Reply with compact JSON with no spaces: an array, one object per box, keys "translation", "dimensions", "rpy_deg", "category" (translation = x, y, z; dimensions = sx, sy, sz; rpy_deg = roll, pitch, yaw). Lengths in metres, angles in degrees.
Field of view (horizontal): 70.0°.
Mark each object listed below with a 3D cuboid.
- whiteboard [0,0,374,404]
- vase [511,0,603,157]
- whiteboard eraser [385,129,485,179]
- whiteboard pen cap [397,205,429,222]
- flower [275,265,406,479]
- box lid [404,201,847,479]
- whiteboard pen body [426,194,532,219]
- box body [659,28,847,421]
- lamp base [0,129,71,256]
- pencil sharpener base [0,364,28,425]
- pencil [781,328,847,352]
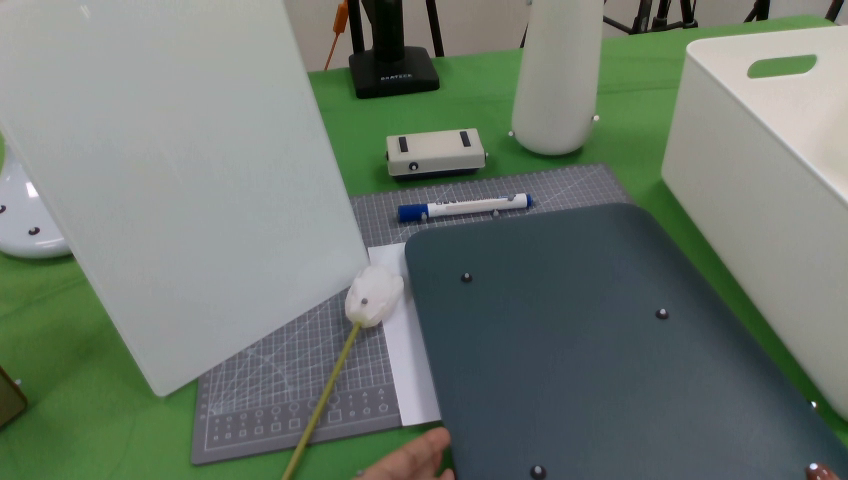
[{"translation":[-0.206,-0.063,0.521],"dimensions":[0.217,0.308,0.142],"rpy_deg":[-30,30,-27],"category":"whiteboard"},{"translation":[0.156,-0.196,0.694],"dimensions":[0.098,0.202,0.097],"rpy_deg":[0,42,0],"category":"vase"},{"translation":[0.012,-0.099,0.709],"dimensions":[0.113,0.042,0.055],"rpy_deg":[-7,41,-5],"category":"whiteboard eraser"},{"translation":[-0.012,-0.028,0.646],"dimensions":[0.033,0.018,0.018],"rpy_deg":[-4,42,-7],"category":"whiteboard pen cap"},{"translation":[-0.094,0.156,0.450],"dimensions":[0.044,0.038,0.359],"rpy_deg":[17,49,11],"category":"flower"},{"translation":[0.134,0.089,0.497],"dimensions":[0.263,0.015,0.367],"rpy_deg":[-9,38,-6],"category":"box lid"},{"translation":[0.047,-0.035,0.652],"dimensions":[0.141,0.017,0.017],"rpy_deg":[-6,42,-5],"category":"whiteboard pen body"},{"translation":[0.404,-0.034,0.536],"dimensions":[0.254,0.162,0.360],"rpy_deg":[-8,43,-6],"category":"box body"},{"translation":[-0.404,-0.100,0.618],"dimensions":[0.178,0.182,0.160],"rpy_deg":[19,46,25],"category":"lamp base"},{"translation":[-0.367,0.098,0.454],"dimensions":[0.076,0.108,0.061],"rpy_deg":[23,48,25],"category":"pencil sharpener base"},{"translation":[0.397,0.100,0.495],"dimensions":[0.193,0.012,0.012],"rpy_deg":[12,44,14],"category":"pencil"}]
